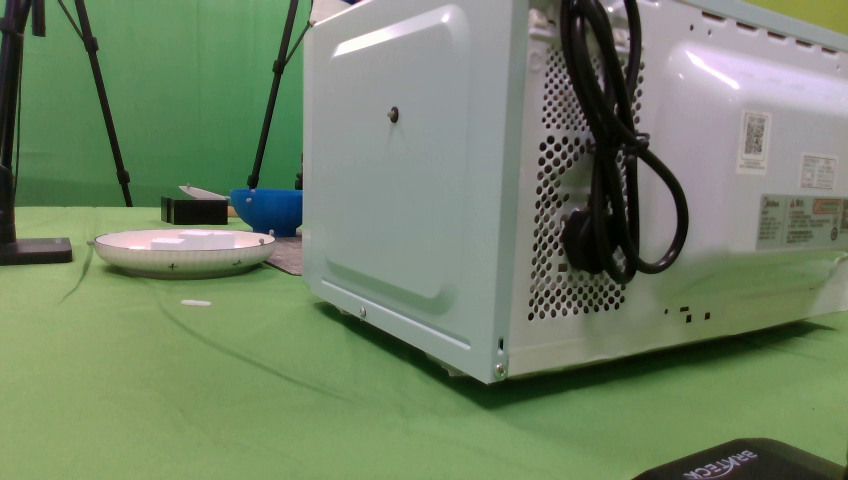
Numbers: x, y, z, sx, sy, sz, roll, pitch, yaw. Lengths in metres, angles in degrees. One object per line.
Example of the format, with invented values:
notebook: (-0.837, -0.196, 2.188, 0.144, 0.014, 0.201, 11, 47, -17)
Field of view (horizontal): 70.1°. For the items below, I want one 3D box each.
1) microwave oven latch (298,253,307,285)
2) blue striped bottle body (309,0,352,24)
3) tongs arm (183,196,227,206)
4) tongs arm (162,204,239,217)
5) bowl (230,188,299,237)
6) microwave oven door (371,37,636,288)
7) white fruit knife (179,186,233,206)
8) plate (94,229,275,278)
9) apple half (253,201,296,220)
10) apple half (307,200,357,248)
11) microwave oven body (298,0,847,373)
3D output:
microwave oven latch: (-0.082, 0.027, 0.583, 0.079, 0.029, 0.030, -2, 8, -34)
blue striped bottle body: (-0.132, -0.377, 0.908, 0.063, 0.120, 0.063, 12, 8, -1)
tongs arm: (-0.404, -0.081, 1.479, 0.385, 0.026, 0.050, 3, 8, -2)
tongs arm: (-0.396, -0.066, 1.399, 0.389, 0.028, 0.028, 1, 6, -15)
bowl: (-0.264, -0.048, 1.065, 0.151, 0.077, 0.151, 3, 8, 0)
microwave oven door: (0.110, -0.080, 0.686, 0.358, 0.243, 0.039, -2, 9, -33)
white fruit knife: (-0.413, -0.081, 1.270, 0.208, 0.027, 0.016, 17, 14, -41)
plate: (-0.291, 0.016, 0.750, 0.208, 0.039, 0.207, 2, 7, 0)
apple half: (-0.264, -0.053, 1.067, 0.081, 0.033, 0.081, 1, 8, 0)
apple half: (-0.135, -0.024, 0.942, 0.053, 0.074, 0.081, 13, 8, 38)
microwave oven body: (0.151, -0.055, 0.542, 0.444, 0.260, 0.324, -2, 7, -33)
